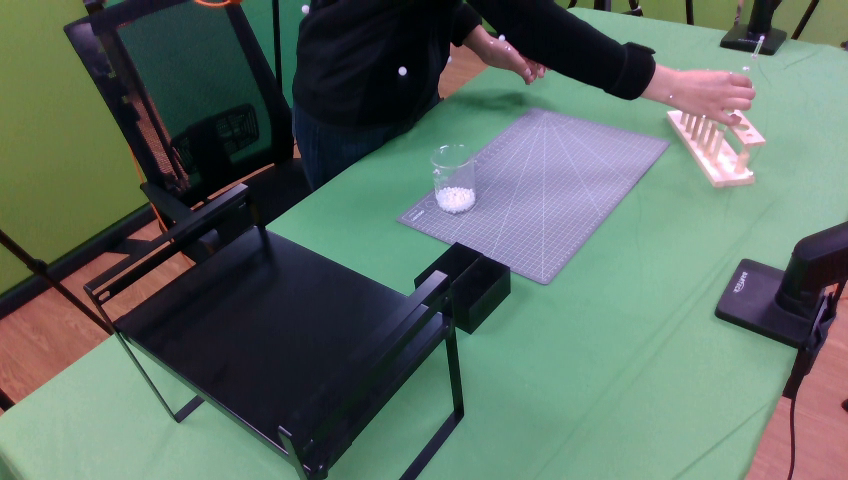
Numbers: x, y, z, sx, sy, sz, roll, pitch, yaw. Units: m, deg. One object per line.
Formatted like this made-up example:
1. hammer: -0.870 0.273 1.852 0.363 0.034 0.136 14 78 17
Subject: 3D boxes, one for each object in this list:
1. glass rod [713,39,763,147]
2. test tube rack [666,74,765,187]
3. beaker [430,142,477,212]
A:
1. glass rod: 0.530 -0.243 1.025 0.008 0.200 0.008 3 41 -2
2. test tube rack: 0.512 -0.202 1.082 0.067 0.085 0.241 -6 41 2
3. beaker: 0.050 -0.105 1.026 0.074 0.101 0.083 -27 43 -21
